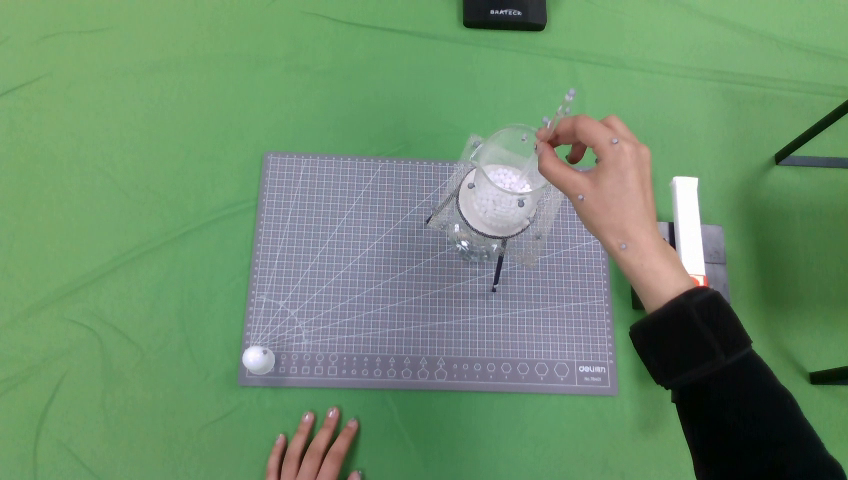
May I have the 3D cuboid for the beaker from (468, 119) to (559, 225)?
[{"bbox_3d":[0.081,-0.063,0.604,0.084,0.101,0.073,2,71,-3],"label":"beaker"}]

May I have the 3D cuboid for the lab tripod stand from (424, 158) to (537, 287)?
[{"bbox_3d":[0.076,-0.032,0.714,0.148,0.132,0.147,1,71,-3],"label":"lab tripod stand"}]

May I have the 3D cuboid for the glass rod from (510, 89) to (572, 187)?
[{"bbox_3d":[0.102,-0.085,0.548,0.008,0.200,0.008,1,75,-4],"label":"glass rod"}]

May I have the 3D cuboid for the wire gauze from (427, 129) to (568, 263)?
[{"bbox_3d":[0.082,-0.049,0.651,0.121,0.011,0.124,25,69,1],"label":"wire gauze"}]

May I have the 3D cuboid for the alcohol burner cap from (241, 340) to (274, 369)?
[{"bbox_3d":[-0.193,0.129,0.693,0.034,0.048,0.033,1,73,-5],"label":"alcohol burner cap"}]

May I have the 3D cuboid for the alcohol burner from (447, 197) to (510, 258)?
[{"bbox_3d":[0.067,-0.020,0.720,0.078,0.119,0.077,1,74,-3],"label":"alcohol burner"}]

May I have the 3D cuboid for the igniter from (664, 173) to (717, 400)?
[{"bbox_3d":[0.312,0.049,0.717,0.057,0.025,0.275,4,72,0],"label":"igniter"}]
